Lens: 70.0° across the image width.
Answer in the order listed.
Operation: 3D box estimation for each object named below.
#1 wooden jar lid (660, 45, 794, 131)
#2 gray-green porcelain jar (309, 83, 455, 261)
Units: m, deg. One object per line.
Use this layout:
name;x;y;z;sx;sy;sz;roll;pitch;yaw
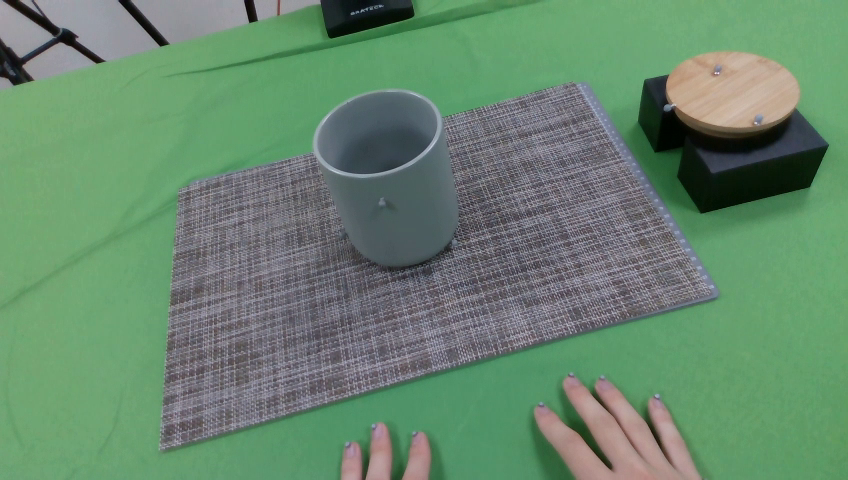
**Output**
wooden jar lid;0.266;-0.134;0.538;0.108;0.021;0.107;-5;52;8
gray-green porcelain jar;-0.030;-0.052;0.522;0.106;0.128;0.105;-6;51;7
